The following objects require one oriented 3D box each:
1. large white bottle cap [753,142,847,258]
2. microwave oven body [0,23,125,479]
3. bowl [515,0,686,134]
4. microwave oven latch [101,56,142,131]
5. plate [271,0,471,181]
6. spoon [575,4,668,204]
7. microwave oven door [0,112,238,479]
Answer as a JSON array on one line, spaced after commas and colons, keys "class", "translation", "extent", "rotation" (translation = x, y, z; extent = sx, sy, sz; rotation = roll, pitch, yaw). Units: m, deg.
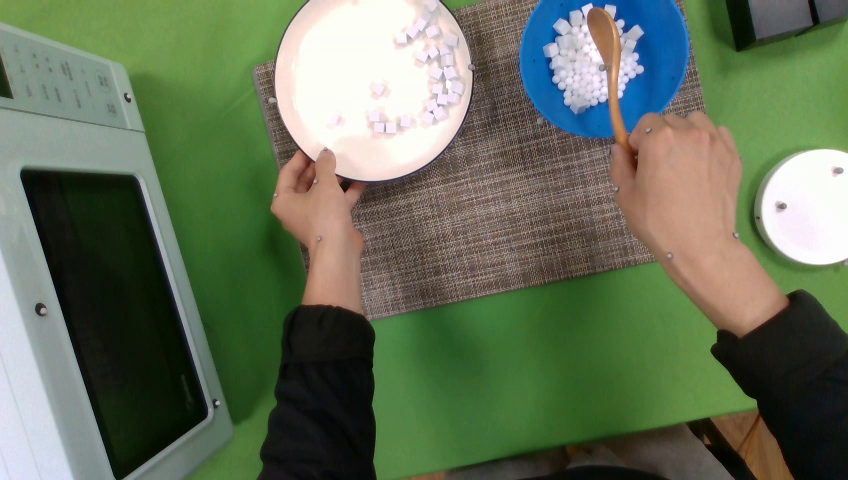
[{"class": "large white bottle cap", "translation": [0.390, -0.039, 0.601], "extent": [0.115, 0.018, 0.115], "rotation": [1, 96, 6]}, {"class": "microwave oven body", "translation": [-0.442, 0.062, 0.592], "extent": [0.326, 0.260, 0.442], "rotation": [-16, 94, 8]}, {"class": "bowl", "translation": [0.163, -0.174, 0.583], "extent": [0.151, 0.077, 0.151], "rotation": [1, 96, 8]}, {"class": "microwave oven latch", "translation": [-0.335, -0.155, 0.655], "extent": [0.030, 0.029, 0.079], "rotation": [-16, 94, 8]}, {"class": "plate", "translation": [-0.053, -0.164, 0.631], "extent": [0.209, 0.038, 0.209], "rotation": [0, 94, 7]}, {"class": "spoon", "translation": [0.170, -0.119, 0.525], "extent": [0.022, 0.041, 0.192], "rotation": [-6, 73, -25]}, {"class": "microwave oven door", "translation": [-0.292, 0.064, 0.569], "extent": [0.039, 0.244, 0.356], "rotation": [-16, 93, 9]}]
